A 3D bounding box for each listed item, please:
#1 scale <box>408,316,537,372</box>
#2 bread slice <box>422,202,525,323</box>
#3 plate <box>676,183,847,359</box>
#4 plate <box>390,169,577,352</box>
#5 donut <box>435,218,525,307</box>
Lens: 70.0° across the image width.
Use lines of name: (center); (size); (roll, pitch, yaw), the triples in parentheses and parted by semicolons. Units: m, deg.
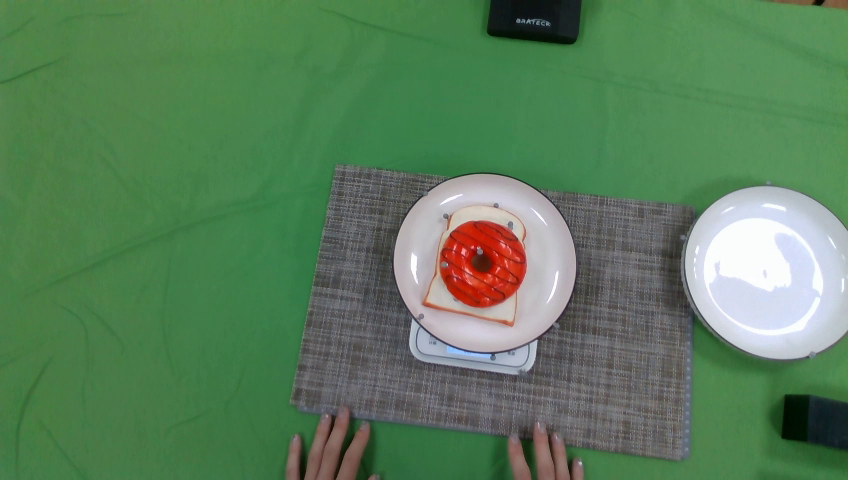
scale: (0.065, 0.048, 0.717); (0.148, 0.032, 0.200); (8, 78, 3)
bread slice: (0.061, 0.020, 0.691); (0.105, 0.019, 0.131); (12, 78, 2)
plate: (0.398, 0.037, 0.713); (0.208, 0.039, 0.206); (0, 77, 1)
plate: (0.066, 0.022, 0.689); (0.209, 0.038, 0.208); (0, 77, 1)
donut: (0.061, 0.024, 0.660); (0.099, 0.048, 0.098); (0, 80, -1)
